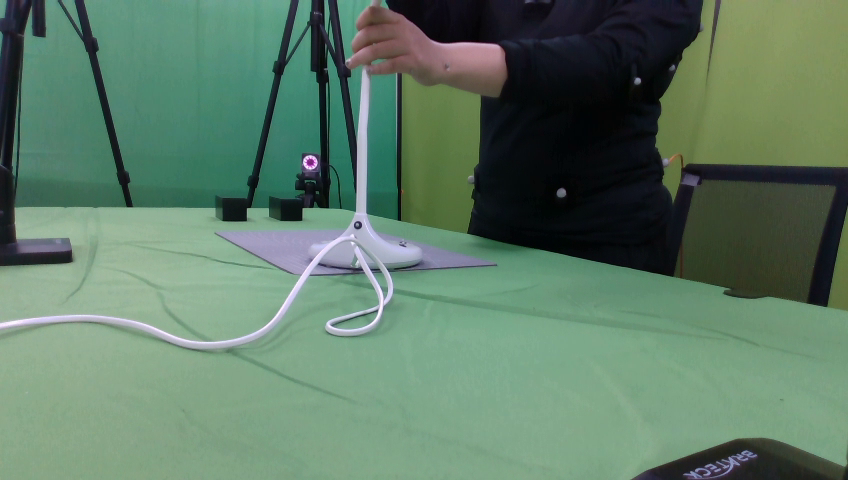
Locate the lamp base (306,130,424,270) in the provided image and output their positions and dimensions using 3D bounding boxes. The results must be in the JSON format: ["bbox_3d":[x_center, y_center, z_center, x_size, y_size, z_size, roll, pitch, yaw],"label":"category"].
[{"bbox_3d":[-0.077,-0.057,0.811,0.161,0.180,0.179,2,10,-4],"label":"lamp base"}]
